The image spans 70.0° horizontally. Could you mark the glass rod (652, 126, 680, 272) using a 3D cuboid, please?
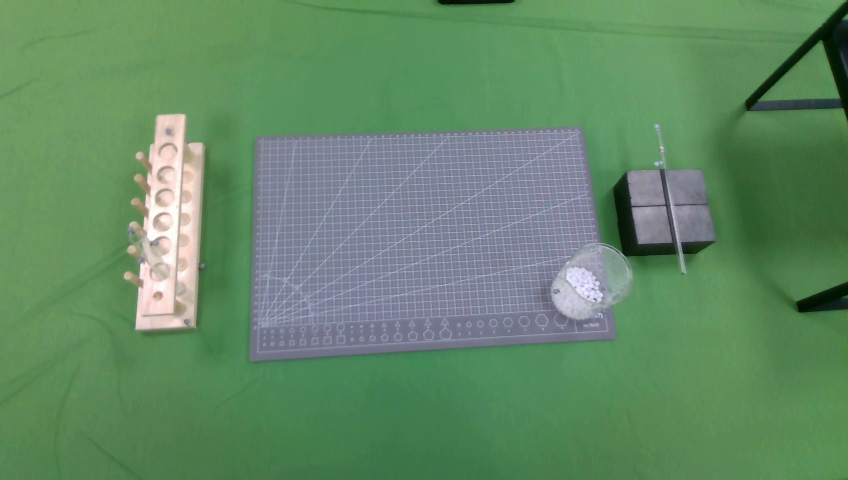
[{"bbox_3d":[0.306,-0.056,0.768,0.008,0.008,0.198,-1,72,-4],"label":"glass rod"}]

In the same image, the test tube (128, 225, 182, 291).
[{"bbox_3d":[-0.289,0.024,0.658,0.017,0.151,0.017,3,64,-5],"label":"test tube"}]

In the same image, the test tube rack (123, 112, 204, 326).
[{"bbox_3d":[-0.314,-0.025,0.724,0.067,0.085,0.240,-3,72,-4],"label":"test tube rack"}]

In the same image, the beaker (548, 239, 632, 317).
[{"bbox_3d":[0.191,0.050,0.725,0.084,0.101,0.073,-1,71,-3],"label":"beaker"}]
